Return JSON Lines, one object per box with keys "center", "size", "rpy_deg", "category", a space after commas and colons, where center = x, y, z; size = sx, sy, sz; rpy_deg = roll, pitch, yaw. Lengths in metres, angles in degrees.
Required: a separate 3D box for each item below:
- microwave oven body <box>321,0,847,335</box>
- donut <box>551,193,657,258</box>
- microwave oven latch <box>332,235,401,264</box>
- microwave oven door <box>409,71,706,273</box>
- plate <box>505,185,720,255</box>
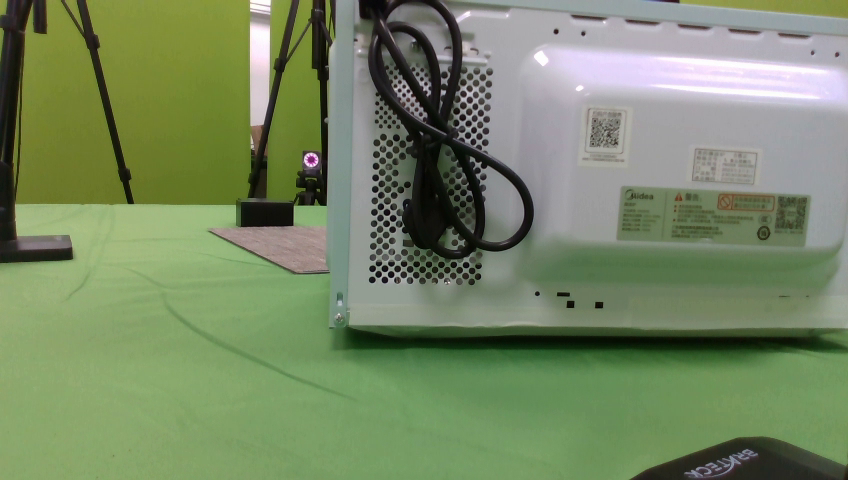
{"center": [0.133, -0.062, 0.568], "size": [0.443, 0.260, 0.325], "rpy_deg": [2, 6, -8], "category": "microwave oven body"}
{"center": [0.170, -0.017, 0.575], "size": [0.099, 0.048, 0.099], "rpy_deg": [-8, 16, 2], "category": "donut"}
{"center": [-0.066, 0.010, 0.701], "size": [0.079, 0.029, 0.030], "rpy_deg": [2, 6, -8], "category": "microwave oven latch"}
{"center": [0.160, -0.092, 0.779], "size": [0.355, 0.243, 0.039], "rpy_deg": [4, 8, 13], "category": "microwave oven door"}
{"center": [0.185, -0.022, 0.616], "size": [0.209, 0.038, 0.209], "rpy_deg": [4, 14, -1], "category": "plate"}
